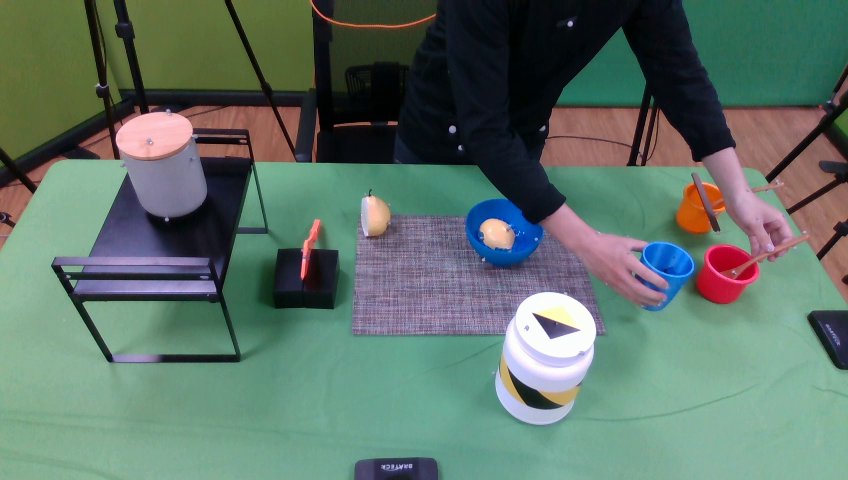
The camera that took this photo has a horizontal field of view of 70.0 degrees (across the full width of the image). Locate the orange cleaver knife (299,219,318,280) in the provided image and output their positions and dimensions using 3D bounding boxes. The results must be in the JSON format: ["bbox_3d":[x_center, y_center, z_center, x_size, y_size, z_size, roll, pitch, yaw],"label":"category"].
[{"bbox_3d":[-0.214,0.013,1.126,0.012,0.077,0.210,5,17,-5],"label":"orange cleaver knife"}]

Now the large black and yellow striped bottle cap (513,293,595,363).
[{"bbox_3d":[0.185,0.123,0.863,0.115,0.019,0.114,3,45,-3],"label":"large black and yellow striped bottle cap"}]

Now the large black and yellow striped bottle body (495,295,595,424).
[{"bbox_3d":[0.183,0.182,0.923,0.131,0.185,0.130,2,46,-2],"label":"large black and yellow striped bottle body"}]

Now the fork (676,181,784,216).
[{"bbox_3d":[0.618,-0.084,1.235,0.207,0.019,0.028,-22,20,38],"label":"fork"}]

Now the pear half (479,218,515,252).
[{"bbox_3d":[0.145,-0.013,1.167,0.070,0.031,0.087,-21,56,-19],"label":"pear half"}]

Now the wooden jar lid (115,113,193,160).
[{"bbox_3d":[-0.399,-0.151,0.900,0.108,0.021,0.107,3,46,-3],"label":"wooden jar lid"}]

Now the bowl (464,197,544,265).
[{"bbox_3d":[0.149,-0.004,1.167,0.151,0.077,0.150,3,46,-2],"label":"bowl"}]

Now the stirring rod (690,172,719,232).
[{"bbox_3d":[0.566,-0.080,1.225,0.014,0.006,0.175,3,46,2],"label":"stirring rod"}]

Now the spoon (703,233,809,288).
[{"bbox_3d":[0.605,0.038,1.109,0.022,0.194,0.041,42,32,-17],"label":"spoon"}]

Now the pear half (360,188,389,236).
[{"bbox_3d":[-0.096,-0.060,1.181,0.056,0.110,0.076,-13,52,-17],"label":"pear half"}]

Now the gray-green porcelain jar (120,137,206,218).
[{"bbox_3d":[-0.403,-0.106,0.946,0.106,0.127,0.105,3,46,-2],"label":"gray-green porcelain jar"}]

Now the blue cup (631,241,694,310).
[{"bbox_3d":[0.400,0.067,1.038,0.093,0.100,0.092,4,44,-4],"label":"blue cup"}]
